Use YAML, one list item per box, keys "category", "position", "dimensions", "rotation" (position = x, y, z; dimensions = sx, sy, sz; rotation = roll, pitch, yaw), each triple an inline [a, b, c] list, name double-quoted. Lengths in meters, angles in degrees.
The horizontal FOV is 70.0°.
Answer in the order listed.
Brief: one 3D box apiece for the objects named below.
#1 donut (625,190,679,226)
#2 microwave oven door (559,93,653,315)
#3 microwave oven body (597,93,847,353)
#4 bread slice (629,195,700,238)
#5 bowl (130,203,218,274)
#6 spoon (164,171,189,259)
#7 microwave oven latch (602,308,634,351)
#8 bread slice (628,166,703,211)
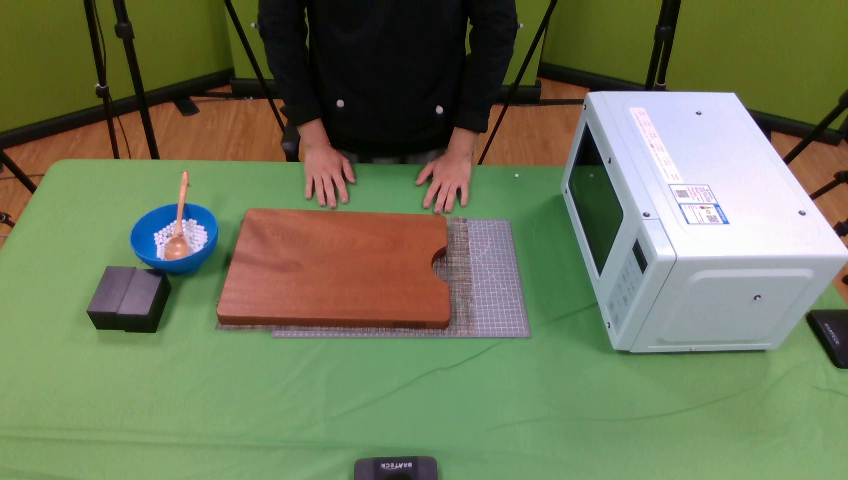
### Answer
- category: "donut"
  position: [0.441, -0.062, 1.172]
  dimensions: [0.099, 0.048, 0.098]
  rotation: [-6, 30, 4]
- category: "microwave oven door"
  position: [0.327, -0.074, 1.123]
  dimensions: [0.039, 0.245, 0.353]
  rotation: [-1, 46, -5]
- category: "microwave oven body"
  position: [0.475, -0.041, 1.109]
  dimensions: [0.326, 0.261, 0.438]
  rotation: [-1, 45, -4]
- category: "bread slice"
  position: [0.474, -0.048, 1.194]
  dimensions: [0.131, 0.019, 0.104]
  rotation: [10, 43, 11]
- category: "bowl"
  position: [-0.450, 0.010, 1.116]
  dimensions: [0.151, 0.077, 0.150]
  rotation: [3, 45, -2]
- category: "spoon"
  position: [-0.452, -0.046, 1.129]
  dimensions: [0.041, 0.022, 0.193]
  rotation: [-1, 69, -2]
- category: "microwave oven latch"
  position: [0.332, 0.153, 1.044]
  dimensions: [0.030, 0.029, 0.078]
  rotation: [-1, 45, -4]
- category: "bread slice"
  position: [0.456, -0.095, 1.140]
  dimensions: [0.134, 0.018, 0.106]
  rotation: [5, 43, -18]
